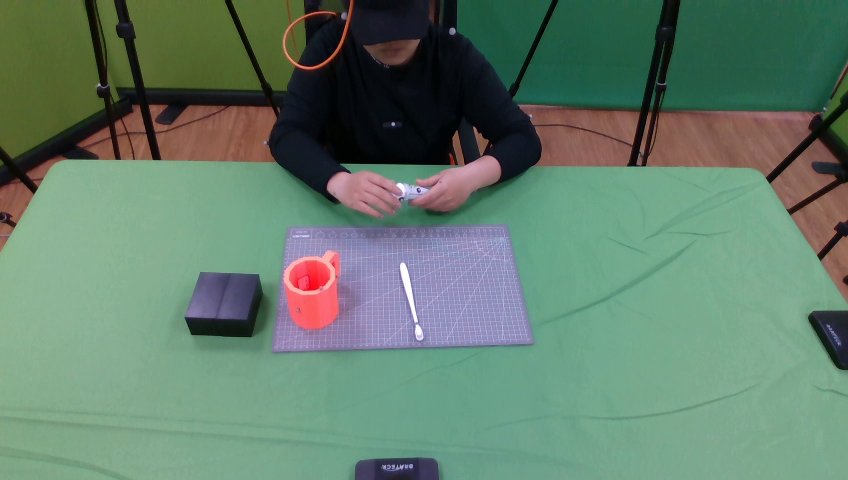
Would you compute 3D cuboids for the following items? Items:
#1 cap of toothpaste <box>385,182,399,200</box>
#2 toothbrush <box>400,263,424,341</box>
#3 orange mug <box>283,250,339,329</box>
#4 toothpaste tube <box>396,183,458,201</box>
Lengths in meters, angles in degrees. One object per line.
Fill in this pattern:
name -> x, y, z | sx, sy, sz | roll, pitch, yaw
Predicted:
cap of toothpaste -> -0.062, -0.095, 1.173 | 0.011, 0.037, 0.037 | -3, 39, -45
toothbrush -> -0.024, 0.106, 1.093 | 0.014, 0.017, 0.180 | -17, 46, 1
orange mug -> -0.186, 0.079, 1.052 | 0.083, 0.101, 0.126 | 20, 52, 15
toothpaste tube -> -0.004, -0.095, 1.227 | 0.165, 0.034, 0.055 | -2, 23, -45
